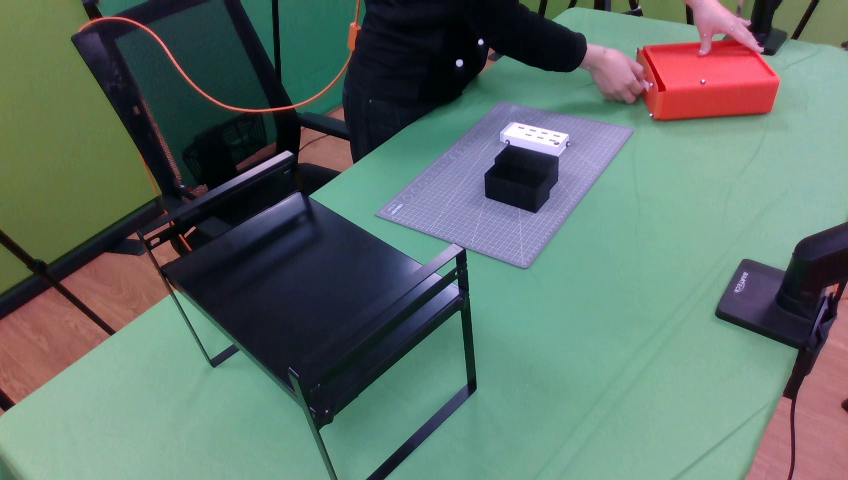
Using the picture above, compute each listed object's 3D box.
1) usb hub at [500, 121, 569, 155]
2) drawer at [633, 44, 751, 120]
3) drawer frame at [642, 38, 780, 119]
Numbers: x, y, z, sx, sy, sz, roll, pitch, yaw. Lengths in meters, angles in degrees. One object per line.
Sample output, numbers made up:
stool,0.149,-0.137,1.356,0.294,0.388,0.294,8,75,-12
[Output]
usb hub,0.213,-0.198,1.166,0.124,0.025,0.049,20,48,28
drawer,0.551,-0.326,1.230,0.211,0.073,0.193,-1,40,5
drawer frame,0.565,-0.329,1.226,0.213,0.083,0.200,-2,41,5
